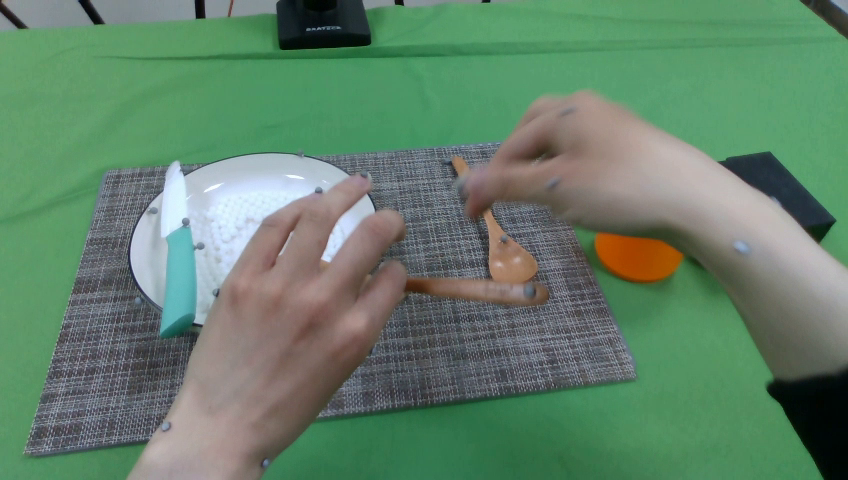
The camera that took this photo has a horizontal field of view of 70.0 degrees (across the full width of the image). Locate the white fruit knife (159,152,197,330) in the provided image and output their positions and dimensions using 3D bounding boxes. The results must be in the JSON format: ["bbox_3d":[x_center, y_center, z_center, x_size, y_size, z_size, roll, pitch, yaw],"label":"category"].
[{"bbox_3d":[-0.207,-0.011,0.505,0.027,0.016,0.205,-14,49,-10],"label":"white fruit knife"}]

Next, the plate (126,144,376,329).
[{"bbox_3d":[-0.145,-0.005,0.532,0.209,0.038,0.207,2,48,-1],"label":"plate"}]

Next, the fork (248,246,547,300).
[{"bbox_3d":[-0.026,0.022,0.382,0.206,0.019,0.028,3,85,26],"label":"fork"}]

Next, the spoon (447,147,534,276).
[{"bbox_3d":[0.056,-0.033,0.578,0.041,0.022,0.191,-22,51,1],"label":"spoon"}]
